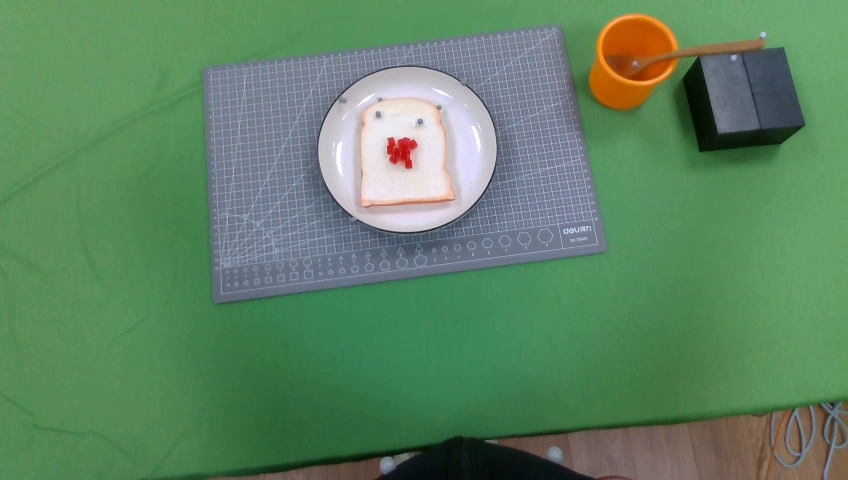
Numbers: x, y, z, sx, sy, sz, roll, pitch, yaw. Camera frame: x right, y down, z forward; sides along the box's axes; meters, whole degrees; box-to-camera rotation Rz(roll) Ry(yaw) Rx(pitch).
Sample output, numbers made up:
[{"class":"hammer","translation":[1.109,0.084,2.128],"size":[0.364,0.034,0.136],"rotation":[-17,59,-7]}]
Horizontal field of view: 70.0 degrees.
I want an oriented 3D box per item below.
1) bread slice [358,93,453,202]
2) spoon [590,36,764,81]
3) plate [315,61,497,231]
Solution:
[{"class":"bread slice","translation":[-0.028,-0.107,0.705],"size":[0.107,0.018,0.133],"rotation":[-7,76,-2]},{"class":"spoon","translation":[0.272,-0.205,0.673],"size":[0.022,0.192,0.041],"rotation":[33,72,-37]},{"class":"plate","translation":[-0.020,-0.107,0.704],"size":[0.209,0.038,0.208],"rotation":[0,76,0]}]
